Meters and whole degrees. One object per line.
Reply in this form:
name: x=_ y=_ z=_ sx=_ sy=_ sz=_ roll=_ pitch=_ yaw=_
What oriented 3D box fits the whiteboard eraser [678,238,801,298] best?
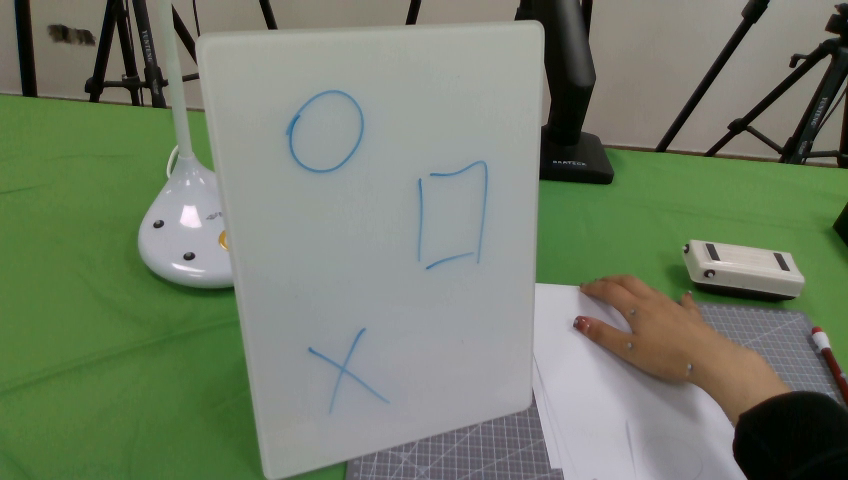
whiteboard eraser: x=0.335 y=0.031 z=0.649 sx=0.112 sy=0.042 sz=0.055 roll=9 pitch=39 yaw=2

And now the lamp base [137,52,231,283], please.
lamp base: x=-0.212 y=-0.077 z=0.586 sx=0.177 sy=0.182 sz=0.160 roll=31 pitch=44 yaw=31

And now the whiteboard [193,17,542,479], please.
whiteboard: x=-0.040 y=-0.007 z=0.471 sx=0.218 sy=0.307 sz=0.142 roll=-9 pitch=22 yaw=-18

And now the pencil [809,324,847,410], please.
pencil: x=0.375 y=0.147 z=0.531 sx=0.012 sy=0.012 sz=0.192 roll=9 pitch=41 yaw=2
